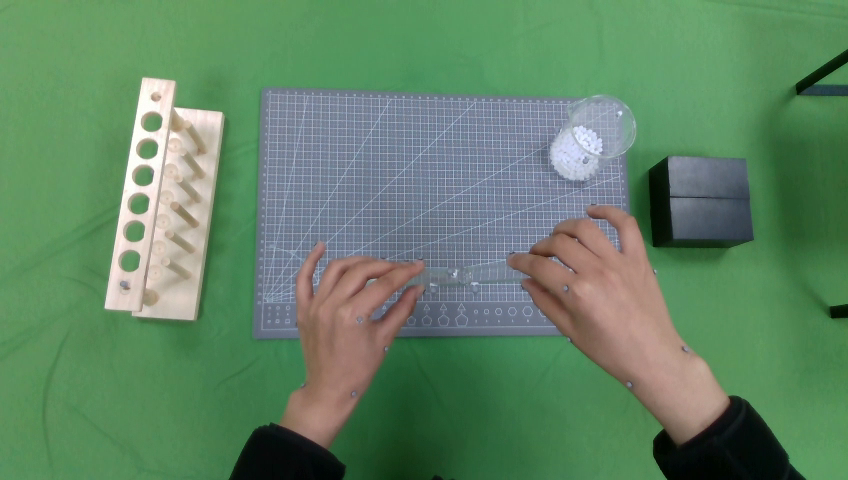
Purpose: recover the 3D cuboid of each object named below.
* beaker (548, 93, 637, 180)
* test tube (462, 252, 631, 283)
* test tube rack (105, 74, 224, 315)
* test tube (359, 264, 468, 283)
[{"bbox_3d":[0.189,-0.118,0.709,0.084,0.100,0.074,32,77,2],"label":"beaker"},{"bbox_3d":[0.107,0.023,0.517,0.151,0.017,0.017,-4,79,-10],"label":"test tube"},{"bbox_3d":[-0.274,-0.045,0.653,0.067,0.085,0.241,5,79,-5],"label":"test tube rack"},{"bbox_3d":[-0.015,0.032,0.566,0.017,0.149,0.017,3,85,-40],"label":"test tube"}]
